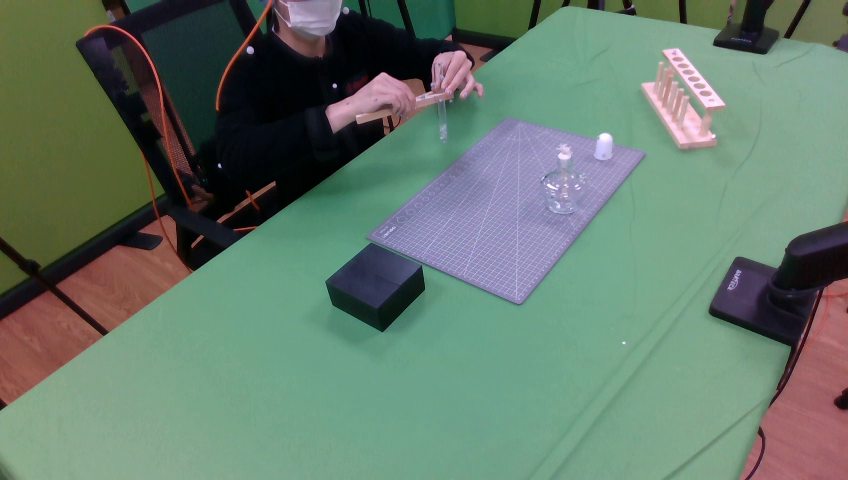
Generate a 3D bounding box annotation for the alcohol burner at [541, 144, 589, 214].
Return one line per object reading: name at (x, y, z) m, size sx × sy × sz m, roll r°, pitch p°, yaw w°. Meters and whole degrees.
alcohol burner at (0.229, -0.102, 0.983) m, size 0.078 × 0.119 × 0.077 m, roll -6°, pitch 41°, yaw 5°

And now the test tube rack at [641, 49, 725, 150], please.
test tube rack at (0.495, -0.279, 1.175) m, size 0.067 × 0.085 × 0.241 m, roll -5°, pitch 41°, yaw 3°

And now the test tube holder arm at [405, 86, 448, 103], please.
test tube holder arm at (0.006, -0.247, 1.052) m, size 0.088 × 0.015 × 0.010 m, roll -28°, pitch 39°, yaw -26°

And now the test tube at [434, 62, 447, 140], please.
test tube at (0.029, -0.242, 1.067) m, size 0.017 × 0.151 × 0.017 m, roll -3°, pitch 43°, yaw 3°

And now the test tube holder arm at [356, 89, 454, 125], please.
test tube holder arm at (-0.031, -0.228, 1.032) m, size 0.179 × 0.015 × 0.013 m, roll -21°, pitch 35°, yaw -17°

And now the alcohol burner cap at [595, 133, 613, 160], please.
alcohol burner cap at (0.330, -0.172, 1.104) m, size 0.034 × 0.048 × 0.033 m, roll -5°, pitch 41°, yaw 5°
